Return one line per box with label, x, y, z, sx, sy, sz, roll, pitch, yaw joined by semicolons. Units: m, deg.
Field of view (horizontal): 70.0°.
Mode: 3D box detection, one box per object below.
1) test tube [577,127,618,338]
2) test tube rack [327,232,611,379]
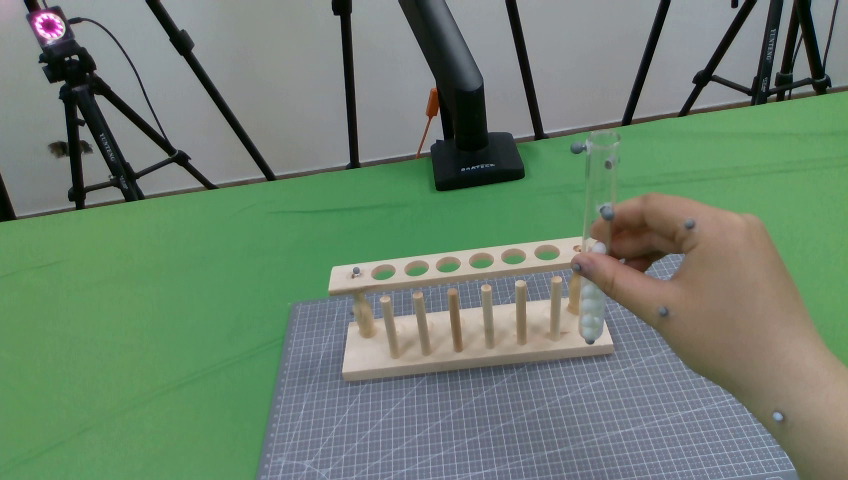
test tube;0.095;0.005;0.335;0.017;0.152;0.017;-6;42;6
test tube rack;0.040;0.060;0.546;0.242;0.086;0.066;-7;37;4
